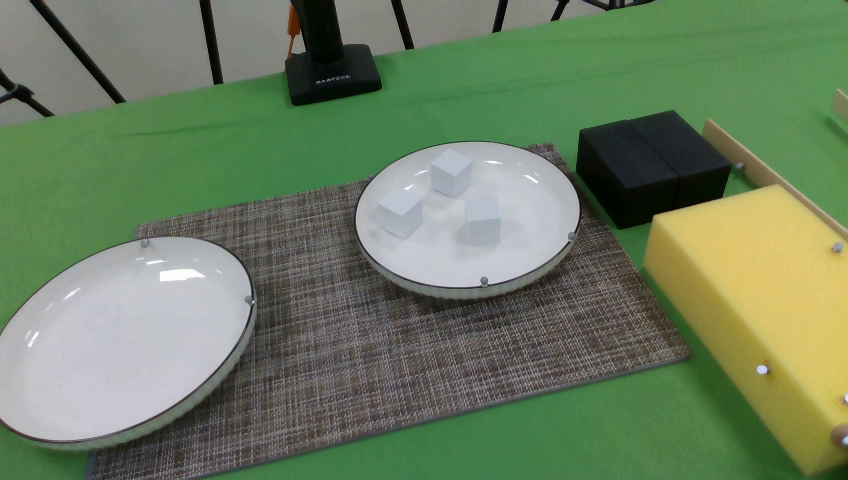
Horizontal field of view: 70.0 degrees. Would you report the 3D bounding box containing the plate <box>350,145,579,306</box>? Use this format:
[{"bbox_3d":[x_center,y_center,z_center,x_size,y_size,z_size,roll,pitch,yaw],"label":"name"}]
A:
[{"bbox_3d":[0.037,-0.014,0.565,0.207,0.039,0.205,-3,43,3],"label":"plate"}]

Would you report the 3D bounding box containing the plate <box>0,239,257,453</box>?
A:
[{"bbox_3d":[-0.238,0.082,0.496,0.209,0.038,0.207,-3,43,3],"label":"plate"}]

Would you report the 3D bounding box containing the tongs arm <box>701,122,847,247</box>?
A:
[{"bbox_3d":[0.366,0.002,0.520,0.028,0.028,0.383,-15,44,-12],"label":"tongs arm"}]

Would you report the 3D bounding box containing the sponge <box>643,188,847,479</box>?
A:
[{"bbox_3d":[0.272,0.056,0.450,0.118,0.061,0.204,-15,44,-8],"label":"sponge"}]

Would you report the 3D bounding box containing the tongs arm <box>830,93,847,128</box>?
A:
[{"bbox_3d":[0.444,-0.016,0.523,0.051,0.027,0.380,-8,44,0],"label":"tongs arm"}]
